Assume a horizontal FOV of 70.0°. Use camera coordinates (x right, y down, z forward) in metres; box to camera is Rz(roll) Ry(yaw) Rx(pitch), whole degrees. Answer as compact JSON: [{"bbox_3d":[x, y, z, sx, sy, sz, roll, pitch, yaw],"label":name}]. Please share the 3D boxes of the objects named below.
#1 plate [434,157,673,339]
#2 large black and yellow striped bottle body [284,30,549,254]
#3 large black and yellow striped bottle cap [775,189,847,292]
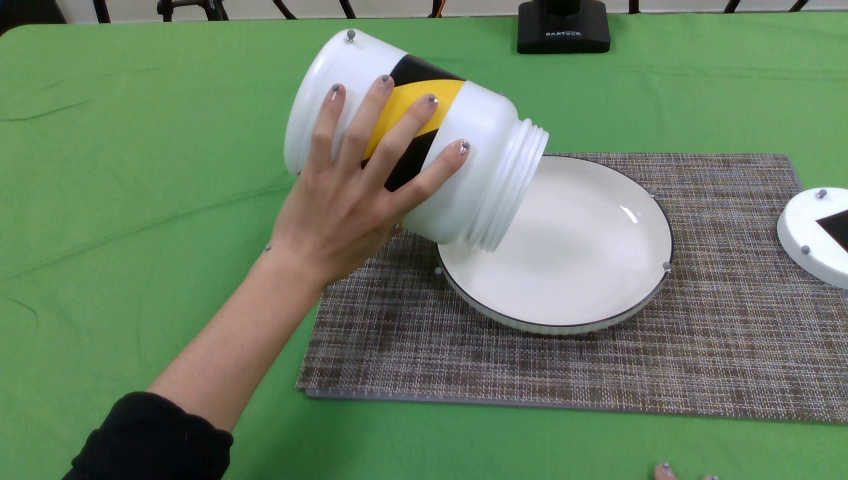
[{"bbox_3d":[0.113,0.005,0.547,0.207,0.039,0.205,-3,47,3],"label":"plate"},{"bbox_3d":[-0.004,-0.075,0.496,0.184,0.131,0.130,25,53,2],"label":"large black and yellow striped bottle body"},{"bbox_3d":[0.379,-0.002,0.543,0.115,0.019,0.114,0,49,1],"label":"large black and yellow striped bottle cap"}]
